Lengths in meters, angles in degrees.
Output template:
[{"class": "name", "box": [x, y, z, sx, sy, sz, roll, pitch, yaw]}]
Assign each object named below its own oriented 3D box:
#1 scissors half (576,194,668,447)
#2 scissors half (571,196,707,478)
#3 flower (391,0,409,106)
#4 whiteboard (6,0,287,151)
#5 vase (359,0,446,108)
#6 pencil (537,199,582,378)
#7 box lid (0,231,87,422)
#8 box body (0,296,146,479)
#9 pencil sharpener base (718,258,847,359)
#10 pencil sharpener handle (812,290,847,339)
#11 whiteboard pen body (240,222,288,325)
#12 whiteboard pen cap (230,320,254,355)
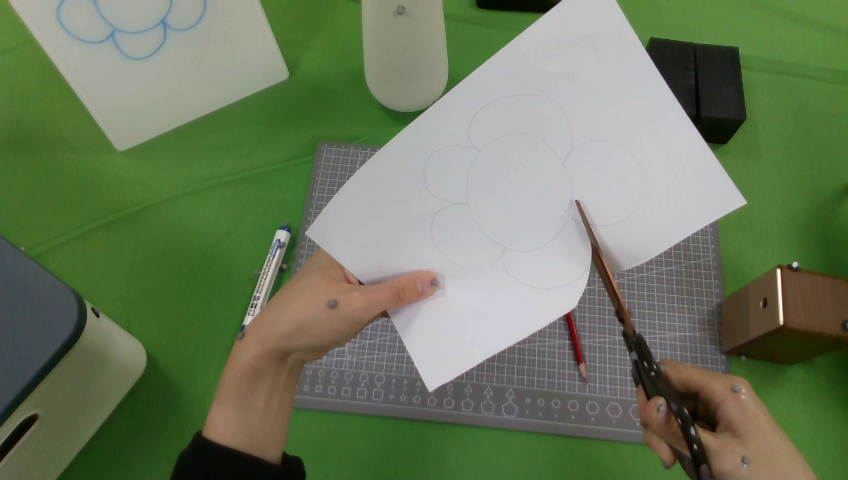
[{"class": "scissors half", "box": [0.124, 0.051, 0.375, 0.013, 0.040, 0.176, -22, 106, 5]}, {"class": "scissors half", "box": [0.122, 0.053, 0.352, 0.013, 0.040, 0.174, -22, 79, 1]}, {"class": "flower", "box": [-0.032, -0.276, 0.570, 0.044, 0.365, 0.038, -1, 50, 3]}, {"class": "whiteboard", "box": [-0.314, -0.291, 0.641, 0.217, 0.308, 0.142, -27, 51, -10]}, {"class": "vase", "box": [-0.025, -0.231, 0.642, 0.098, 0.201, 0.097, 0, 66, 1]}, {"class": "pencil", "box": [0.141, 0.046, 0.628, 0.012, 0.012, 0.192, -8, 70, -3]}, {"class": "box lid", "box": [-0.473, 0.057, 0.460, 0.370, 0.015, 0.262, 31, 70, 12]}, {"class": "box body", "box": [-0.471, 0.087, 0.528, 0.362, 0.161, 0.253, 31, 71, 12]}, {"class": "pencil sharpener base", "box": [0.337, 0.068, 0.567, 0.077, 0.107, 0.061, 10, 67, 1]}, {"class": "pencil sharpener handle", "box": [0.388, 0.073, 0.555, 0.030, 0.068, 0.035, 10, 61, 1]}, {"class": "whiteboard pen body", "box": [-0.167, 0.044, 0.625, 0.017, 0.017, 0.140, 12, 66, 5]}, {"class": "whiteboard pen cap", "box": [-0.179, 0.096, 0.601, 0.018, 0.018, 0.033, 11, 63, 5]}]
